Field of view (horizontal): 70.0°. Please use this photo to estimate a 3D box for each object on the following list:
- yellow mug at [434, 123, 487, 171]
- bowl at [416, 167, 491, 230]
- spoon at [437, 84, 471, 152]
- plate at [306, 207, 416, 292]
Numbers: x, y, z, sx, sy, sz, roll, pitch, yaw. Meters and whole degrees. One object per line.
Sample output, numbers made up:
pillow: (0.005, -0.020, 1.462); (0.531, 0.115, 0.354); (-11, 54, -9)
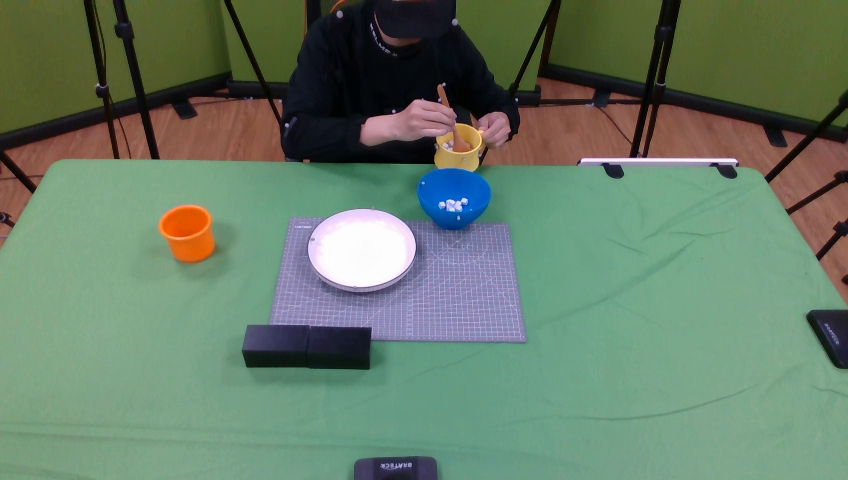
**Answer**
yellow mug: (0.085, -0.205, 1.320); (0.131, 0.064, 0.099); (-26, 56, -24)
bowl: (0.057, -0.074, 1.231); (0.151, 0.077, 0.150); (2, 42, -2)
spoon: (0.057, -0.239, 1.252); (0.041, 0.195, 0.021); (-14, 39, 12)
plate: (-0.119, 0.021, 1.153); (0.209, 0.038, 0.208); (2, 46, -2)
